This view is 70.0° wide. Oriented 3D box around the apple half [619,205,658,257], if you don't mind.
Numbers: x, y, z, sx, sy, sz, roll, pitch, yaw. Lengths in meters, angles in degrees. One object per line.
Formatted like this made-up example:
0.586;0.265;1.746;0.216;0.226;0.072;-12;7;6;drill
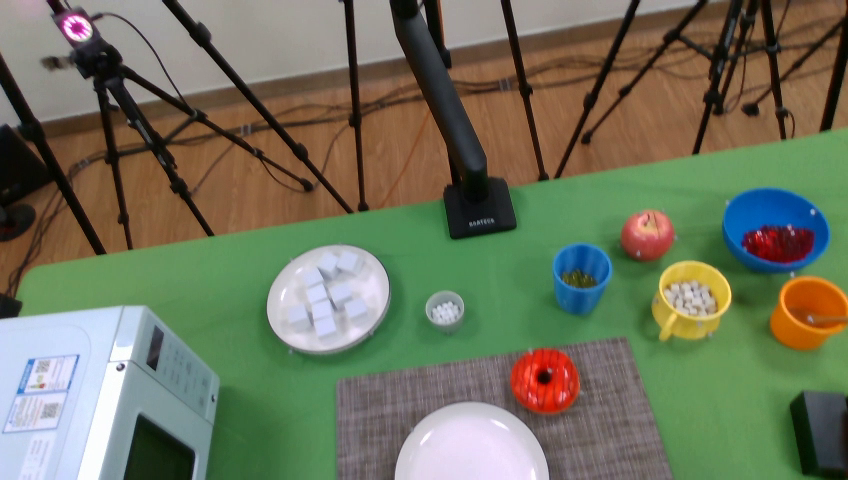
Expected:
0.344;-0.011;0.982;0.053;0.075;0.080;-6;58;9;apple half

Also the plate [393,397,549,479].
0.063;0.317;0.815;0.209;0.038;0.207;-4;55;6;plate

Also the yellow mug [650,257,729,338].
0.387;0.095;0.906;0.099;0.064;0.130;34;68;28;yellow mug

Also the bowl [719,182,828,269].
0.534;-0.008;0.948;0.151;0.077;0.150;-4;56;7;bowl

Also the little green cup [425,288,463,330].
0.034;0.112;0.966;0.061;0.039;0.061;-4;55;6;little green cup

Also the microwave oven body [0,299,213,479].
-0.482;0.334;0.749;0.326;0.263;0.437;-6;56;4;microwave oven body

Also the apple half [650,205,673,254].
0.383;-0.016;0.977;0.033;0.082;0.080;-6;55;9;apple half

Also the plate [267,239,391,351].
-0.154;0.093;1.008;0.207;0.039;0.205;-4;55;6;plate

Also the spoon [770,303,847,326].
0.565;0.105;0.821;0.041;0.193;0.022;-45;104;-21;spoon

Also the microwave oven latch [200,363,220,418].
-0.330;0.228;0.918;0.030;0.030;0.078;-5;56;5;microwave oven latch

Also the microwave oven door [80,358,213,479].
-0.336;0.349;0.710;0.039;0.246;0.352;-7;55;4;microwave oven door

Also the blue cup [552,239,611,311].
0.237;0.061;0.931;0.092;0.101;0.092;-3;56;5;blue cup

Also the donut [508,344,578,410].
0.172;0.198;0.877;0.099;0.049;0.098;-4;57;7;donut
